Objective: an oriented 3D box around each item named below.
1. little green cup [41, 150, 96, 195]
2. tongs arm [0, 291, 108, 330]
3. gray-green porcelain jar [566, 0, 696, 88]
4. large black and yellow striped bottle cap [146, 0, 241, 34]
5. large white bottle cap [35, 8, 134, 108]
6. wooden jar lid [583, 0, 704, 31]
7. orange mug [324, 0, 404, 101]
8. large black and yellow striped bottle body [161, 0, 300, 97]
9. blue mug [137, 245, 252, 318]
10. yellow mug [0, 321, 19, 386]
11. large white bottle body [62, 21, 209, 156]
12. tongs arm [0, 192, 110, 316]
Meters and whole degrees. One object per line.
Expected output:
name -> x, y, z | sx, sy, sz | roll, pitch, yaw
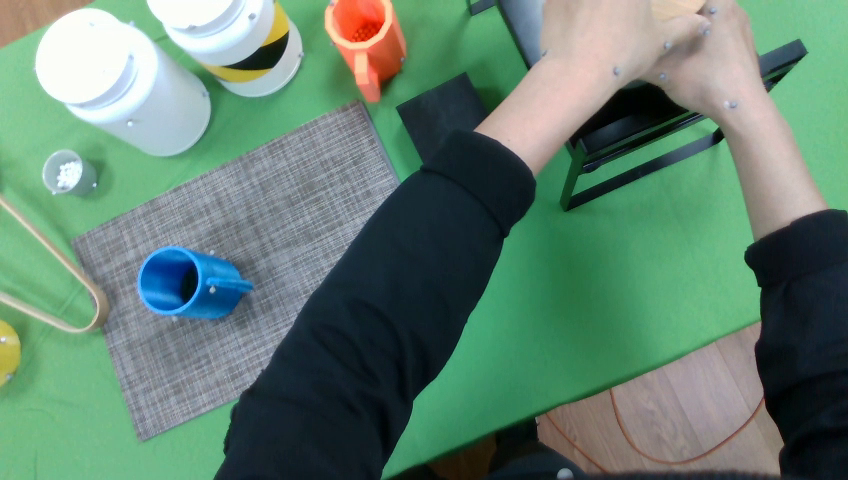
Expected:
little green cup -> -0.497, -0.092, 0.851 | 0.061, 0.039, 0.061 | -1, 82, 7
tongs arm -> -0.615, 0.037, 0.828 | 0.384, 0.026, 0.050 | 27, 82, 4
gray-green porcelain jar -> 0.184, -0.205, 0.547 | 0.106, 0.127, 0.105 | -1, 81, 8
large black and yellow striped bottle cap -> -0.261, -0.291, 0.689 | 0.115, 0.019, 0.114 | -1, 81, 7
large white bottle cap -> -0.389, -0.209, 0.692 | 0.114, 0.018, 0.114 | -1, 82, 8
wooden jar lid -> 0.175, -0.215, 0.485 | 0.108, 0.021, 0.108 | -1, 80, 8
orange mug -> -0.076, -0.251, 0.787 | 0.083, 0.101, 0.125 | -2, 77, 8
large black and yellow striped bottle body -> -0.248, -0.277, 0.771 | 0.130, 0.185, 0.130 | -1, 81, 8
blue mug -> -0.276, 0.055, 0.760 | 0.116, 0.106, 0.082 | 0, 81, 8
yellow mug -> -0.620, 0.170, 0.814 | 0.100, 0.064, 0.130 | 13, 85, 9
large white bottle body -> -0.376, -0.195, 0.775 | 0.130, 0.185, 0.130 | -1, 81, 8
tongs arm -> -0.570, -0.034, 0.836 | 0.387, 0.028, 0.028 | 41, 80, 5
